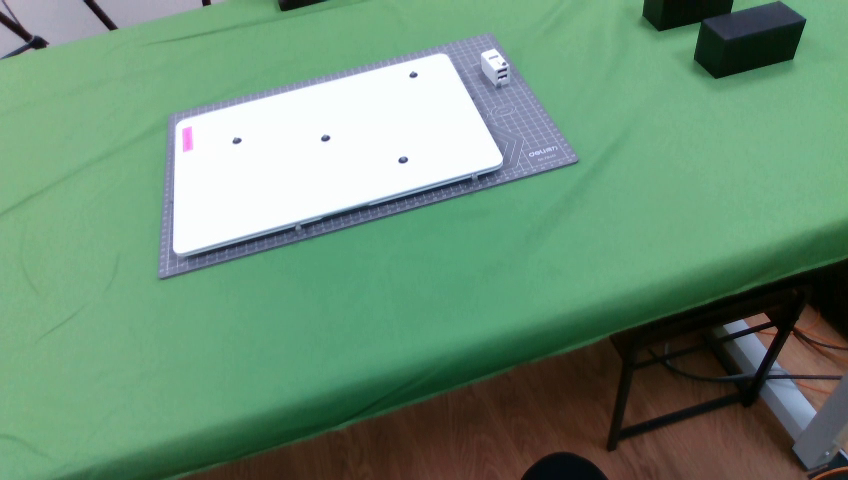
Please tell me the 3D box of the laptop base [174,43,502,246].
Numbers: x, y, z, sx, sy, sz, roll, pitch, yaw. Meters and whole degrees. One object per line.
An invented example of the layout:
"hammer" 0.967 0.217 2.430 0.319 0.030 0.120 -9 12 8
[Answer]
"laptop base" -0.112 -0.119 0.701 0.354 0.023 0.233 -16 51 -5

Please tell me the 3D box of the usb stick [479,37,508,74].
"usb stick" 0.084 -0.234 0.759 0.021 0.027 0.058 -20 45 -7

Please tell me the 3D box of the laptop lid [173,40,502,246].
"laptop lid" -0.113 -0.125 0.691 0.357 0.013 0.239 -15 50 -3
